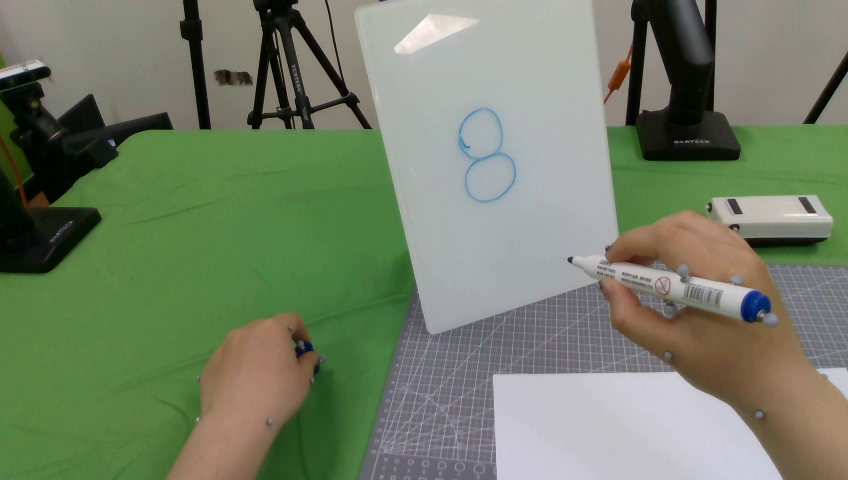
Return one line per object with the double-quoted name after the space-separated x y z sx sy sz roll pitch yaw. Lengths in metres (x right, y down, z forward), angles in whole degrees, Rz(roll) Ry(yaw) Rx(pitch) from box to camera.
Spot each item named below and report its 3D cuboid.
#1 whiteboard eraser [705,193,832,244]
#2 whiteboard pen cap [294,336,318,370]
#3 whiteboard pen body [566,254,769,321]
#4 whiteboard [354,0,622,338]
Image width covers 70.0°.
0.367 -0.022 0.651 0.112 0.042 0.055 0 40 7 "whiteboard eraser"
-0.109 0.105 0.557 0.018 0.033 0.018 -3 44 3 "whiteboard pen cap"
0.124 0.022 0.337 0.017 0.017 0.139 -23 17 -21 "whiteboard pen body"
0.057 -0.093 0.621 0.217 0.307 0.143 -16 18 -11 "whiteboard"
